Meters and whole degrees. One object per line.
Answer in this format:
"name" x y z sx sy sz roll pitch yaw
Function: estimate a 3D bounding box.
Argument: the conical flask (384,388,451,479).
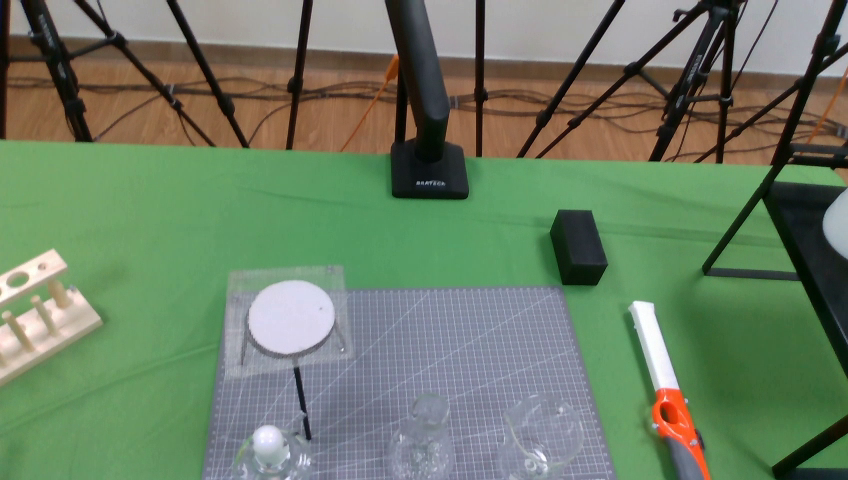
"conical flask" -0.002 0.197 0.629 0.075 0.123 0.074 4 50 -4

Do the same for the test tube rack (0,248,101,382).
"test tube rack" -0.496 0.115 0.657 0.066 0.086 0.242 39 56 23

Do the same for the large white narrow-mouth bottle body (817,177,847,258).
"large white narrow-mouth bottle body" 0.516 -0.066 0.640 0.102 0.196 0.101 4 50 -4

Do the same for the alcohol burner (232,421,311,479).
"alcohol burner" -0.152 0.212 0.603 0.078 0.120 0.077 5 49 -6

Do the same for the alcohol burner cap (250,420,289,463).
"alcohol burner cap" -0.149 0.189 0.574 0.034 0.048 0.033 2 54 -2

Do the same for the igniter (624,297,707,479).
"igniter" 0.294 0.188 0.744 0.057 0.025 0.273 9 49 -14

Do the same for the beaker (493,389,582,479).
"beaker" 0.114 0.214 0.647 0.084 0.101 0.073 18 50 9

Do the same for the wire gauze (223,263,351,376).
"wire gauze" -0.142 0.074 0.617 0.122 0.011 0.123 -4 53 -12

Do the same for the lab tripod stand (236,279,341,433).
"lab tripod stand" -0.145 0.120 0.667 0.148 0.132 0.147 5 51 -6
